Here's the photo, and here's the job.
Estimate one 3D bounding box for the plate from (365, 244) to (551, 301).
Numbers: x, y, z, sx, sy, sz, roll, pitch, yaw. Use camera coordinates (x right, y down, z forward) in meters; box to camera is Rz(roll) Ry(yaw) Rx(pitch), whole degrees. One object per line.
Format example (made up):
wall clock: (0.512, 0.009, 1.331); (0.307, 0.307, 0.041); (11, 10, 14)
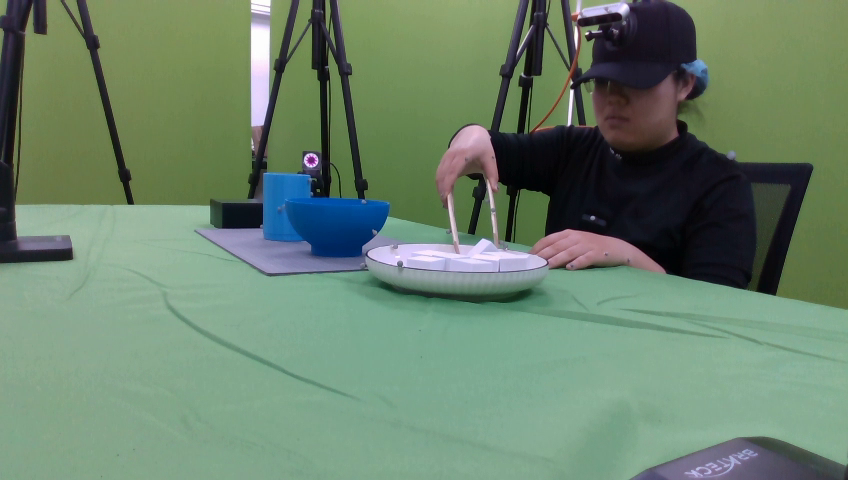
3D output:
plate: (0.038, 0.035, 0.685); (0.209, 0.038, 0.209); (2, 7, 0)

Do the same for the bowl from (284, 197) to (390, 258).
bowl: (-0.125, -0.018, 0.870); (0.151, 0.077, 0.151); (2, 7, 0)

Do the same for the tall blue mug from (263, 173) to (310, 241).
tall blue mug: (-0.233, -0.058, 1.019); (0.078, 0.108, 0.107); (-1, 8, -19)

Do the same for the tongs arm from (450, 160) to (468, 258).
tongs arm: (0.054, -0.060, 0.913); (0.028, 0.028, 0.387); (-15, 20, 9)

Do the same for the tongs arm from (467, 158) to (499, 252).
tongs arm: (0.084, -0.065, 0.910); (0.051, 0.026, 0.384); (-11, 21, 10)
